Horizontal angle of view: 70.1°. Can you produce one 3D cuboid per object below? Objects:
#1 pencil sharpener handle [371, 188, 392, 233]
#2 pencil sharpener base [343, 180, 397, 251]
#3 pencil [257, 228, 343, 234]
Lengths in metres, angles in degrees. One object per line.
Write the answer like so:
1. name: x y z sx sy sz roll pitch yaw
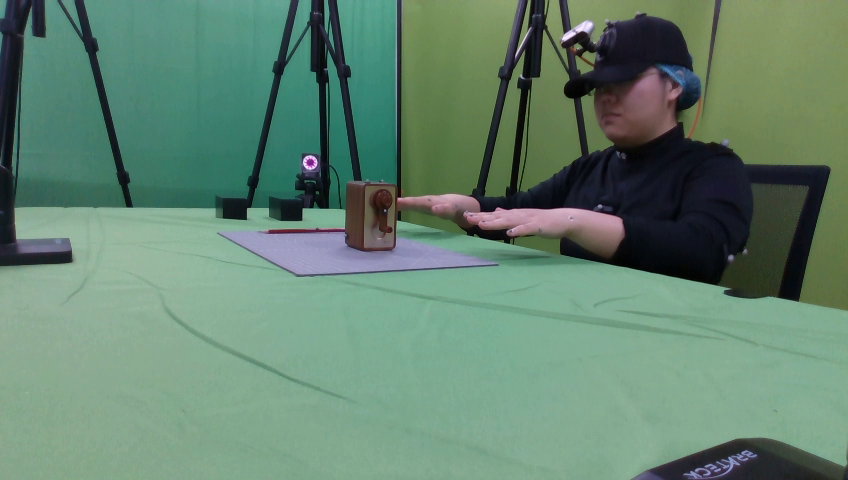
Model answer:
1. pencil sharpener handle: -0.058 -0.044 0.913 0.036 0.067 0.030 -1 8 -31
2. pencil sharpener base: -0.085 -0.039 0.958 0.062 0.107 0.076 -1 8 -31
3. pencil: -0.213 -0.017 1.131 0.195 0.012 0.012 -2 9 -26
